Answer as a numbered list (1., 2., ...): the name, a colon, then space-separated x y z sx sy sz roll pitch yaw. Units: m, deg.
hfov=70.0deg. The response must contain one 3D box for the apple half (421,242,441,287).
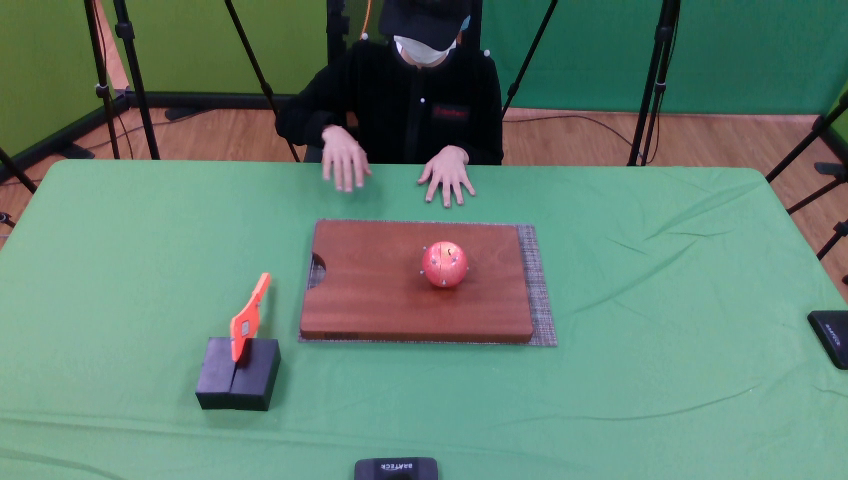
1. apple half: 0.010 0.045 1.079 0.033 0.081 0.081 3 45 -6

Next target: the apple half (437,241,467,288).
1. apple half: 0.049 0.047 1.083 0.053 0.075 0.080 3 41 -6

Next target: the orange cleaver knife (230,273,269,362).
1. orange cleaver knife: -0.290 0.124 1.014 0.012 0.077 0.210 1 23 1
